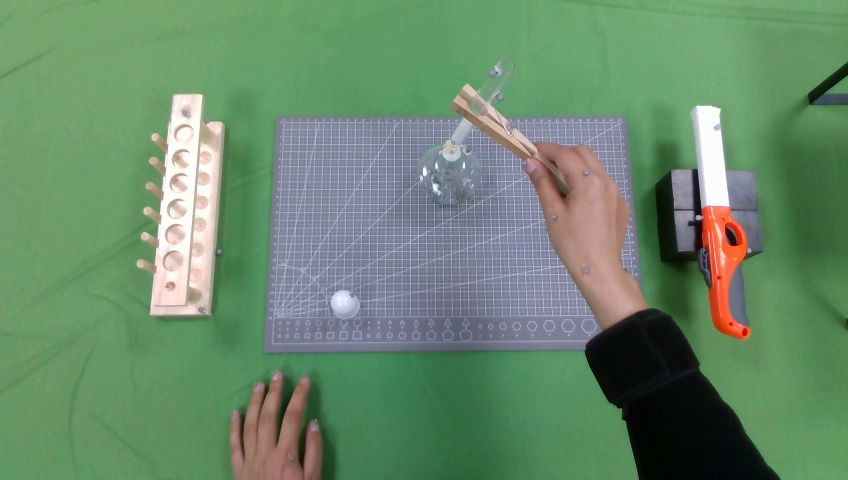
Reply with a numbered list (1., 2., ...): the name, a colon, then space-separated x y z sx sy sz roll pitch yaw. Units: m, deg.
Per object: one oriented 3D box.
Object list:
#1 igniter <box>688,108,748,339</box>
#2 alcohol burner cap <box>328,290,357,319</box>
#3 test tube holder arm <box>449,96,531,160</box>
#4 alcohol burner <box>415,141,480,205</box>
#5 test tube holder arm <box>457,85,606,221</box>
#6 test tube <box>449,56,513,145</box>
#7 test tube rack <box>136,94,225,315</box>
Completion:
1. igniter: 0.334 -0.024 0.695 0.057 0.025 0.275 2 73 -3
2. alcohol burner cap: -0.096 0.072 0.698 0.034 0.048 0.033 1 77 -3
3. test tube holder arm: 0.062 -0.102 0.555 0.088 0.015 0.010 33 78 -6
4. alcohol burner: 0.028 -0.084 0.703 0.078 0.119 0.077 0 77 1
5. test tube holder arm: 0.101 -0.079 0.560 0.179 0.015 0.013 39 78 -5
6. test tube: 0.047 -0.120 0.548 0.017 0.150 0.017 3 75 -12
7. test tube rack: -0.285 -0.039 0.701 0.067 0.085 0.241 0 76 -1
